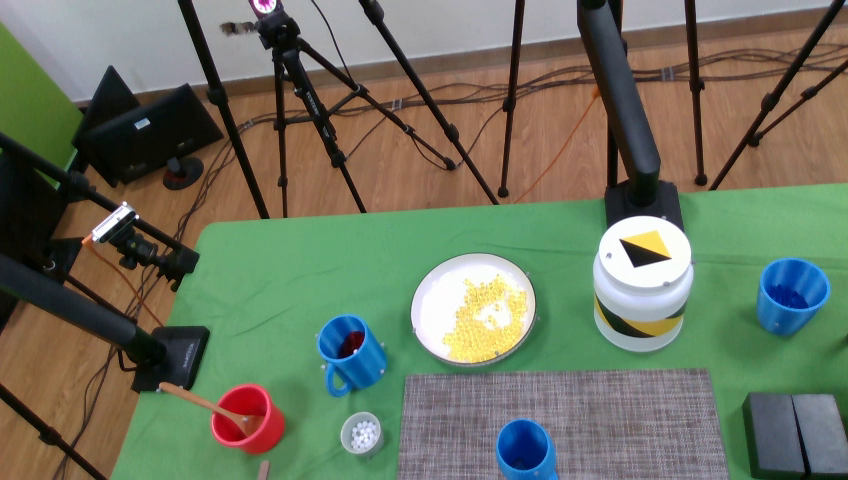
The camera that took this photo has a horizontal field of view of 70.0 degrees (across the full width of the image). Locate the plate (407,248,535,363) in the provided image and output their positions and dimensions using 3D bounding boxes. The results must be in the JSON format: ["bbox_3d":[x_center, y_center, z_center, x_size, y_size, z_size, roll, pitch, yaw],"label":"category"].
[{"bbox_3d":[0.077,0.108,0.994,0.209,0.038,0.207,-7,55,10],"label":"plate"}]

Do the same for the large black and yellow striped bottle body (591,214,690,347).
[{"bbox_3d":[0.308,0.059,0.873,0.130,0.186,0.129,-7,55,11],"label":"large black and yellow striped bottle body"}]

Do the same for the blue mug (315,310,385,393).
[{"bbox_3d":[-0.122,0.184,0.952,0.082,0.107,0.116,14,61,24],"label":"blue mug"}]

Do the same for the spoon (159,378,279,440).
[{"bbox_3d":[-0.314,0.255,0.931,0.195,0.021,0.041,32,62,-17],"label":"spoon"}]

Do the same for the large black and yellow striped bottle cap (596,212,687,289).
[{"bbox_3d":[0.288,0.012,0.806,0.115,0.019,0.114,-7,54,10],"label":"large black and yellow striped bottle cap"}]

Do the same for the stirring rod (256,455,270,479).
[{"bbox_3d":[-0.231,0.379,0.816,0.014,0.006,0.174,-5,55,13],"label":"stirring rod"}]

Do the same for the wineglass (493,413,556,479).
[{"bbox_3d":[0.131,0.279,0.770,0.073,0.174,0.073,-7,54,11],"label":"wineglass"}]

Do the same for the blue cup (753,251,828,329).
[{"bbox_3d":[0.509,0.078,0.856,0.092,0.101,0.092,-8,55,12],"label":"blue cup"}]

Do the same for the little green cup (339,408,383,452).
[{"bbox_3d":[-0.092,0.289,0.913,0.061,0.039,0.061,-7,55,11],"label":"little green cup"}]
